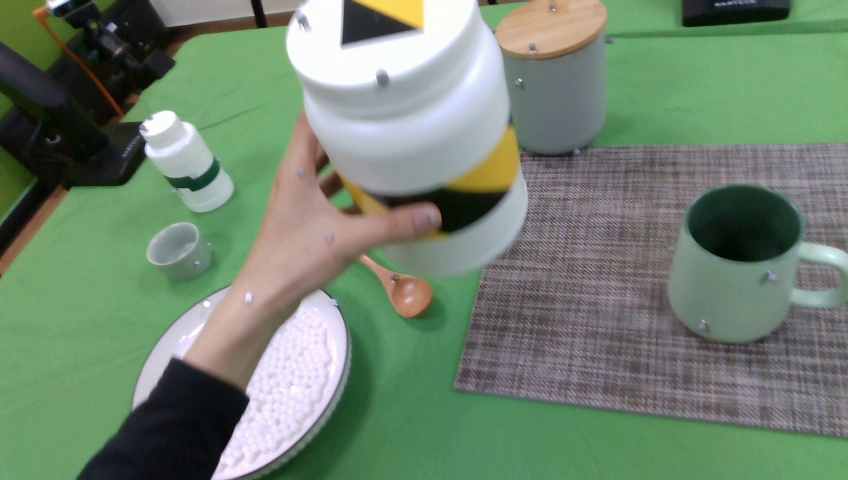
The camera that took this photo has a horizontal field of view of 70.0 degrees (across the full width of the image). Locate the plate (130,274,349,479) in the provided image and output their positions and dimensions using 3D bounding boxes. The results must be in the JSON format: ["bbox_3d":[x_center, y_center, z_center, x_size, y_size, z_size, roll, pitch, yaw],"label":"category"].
[{"bbox_3d":[-0.164,0.125,0.560,0.209,0.038,0.207,-9,49,11],"label":"plate"}]

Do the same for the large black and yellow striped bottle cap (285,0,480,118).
[{"bbox_3d":[-0.025,-0.117,0.353,0.115,0.019,0.114,-7,54,10],"label":"large black and yellow striped bottle cap"}]

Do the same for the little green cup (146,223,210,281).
[{"bbox_3d":[-0.277,0.015,0.687,0.061,0.039,0.061,-9,49,11],"label":"little green cup"}]

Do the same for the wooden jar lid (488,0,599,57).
[{"bbox_3d":[0.118,-0.209,0.600,0.108,0.021,0.107,-11,47,12],"label":"wooden jar lid"}]

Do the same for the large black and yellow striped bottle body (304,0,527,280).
[{"bbox_3d":[-0.003,-0.071,0.419,0.130,0.186,0.129,-8,54,12],"label":"large black and yellow striped bottle body"}]

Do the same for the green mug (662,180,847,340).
[{"bbox_3d":[0.251,0.020,0.463,0.124,0.106,0.092,11,55,25],"label":"green mug"}]

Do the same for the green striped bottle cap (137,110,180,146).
[{"bbox_3d":[-0.302,-0.127,0.688,0.044,0.020,0.044,-7,52,9],"label":"green striped bottle cap"}]

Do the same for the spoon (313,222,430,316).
[{"bbox_3d":[-0.060,0.021,0.622,0.192,0.022,0.041,35,83,36],"label":"spoon"}]

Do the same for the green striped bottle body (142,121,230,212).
[{"bbox_3d":[-0.289,-0.094,0.726,0.063,0.120,0.062,-9,49,11],"label":"green striped bottle body"}]

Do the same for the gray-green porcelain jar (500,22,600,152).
[{"bbox_3d":[0.133,-0.167,0.645,0.106,0.128,0.105,-9,46,9],"label":"gray-green porcelain jar"}]
